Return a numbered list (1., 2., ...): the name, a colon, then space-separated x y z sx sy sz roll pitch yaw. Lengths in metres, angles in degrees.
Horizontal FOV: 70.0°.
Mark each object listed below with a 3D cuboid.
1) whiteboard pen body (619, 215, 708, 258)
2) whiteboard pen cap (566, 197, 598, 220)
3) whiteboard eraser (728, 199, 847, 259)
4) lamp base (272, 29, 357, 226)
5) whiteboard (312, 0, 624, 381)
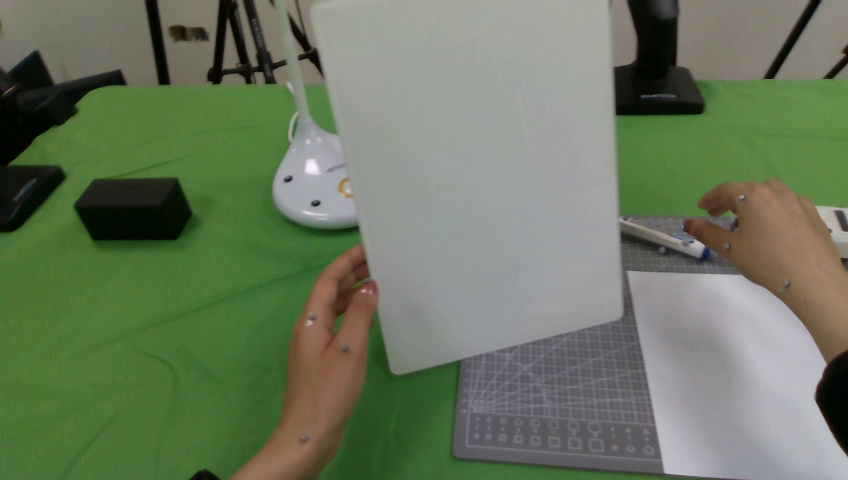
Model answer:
1. whiteboard pen body: 0.219 -0.012 0.623 0.140 0.017 0.017 22 48 23
2. whiteboard pen cap: 0.170 -0.034 0.647 0.033 0.018 0.018 22 48 21
3. whiteboard eraser: 0.361 -0.009 0.592 0.112 0.042 0.055 4 41 11
4. lamp base: -0.113 -0.133 0.676 0.160 0.182 0.177 -33 46 -28
5. whiteboard: 0.040 -0.066 0.535 0.217 0.307 0.142 -13 23 -7
